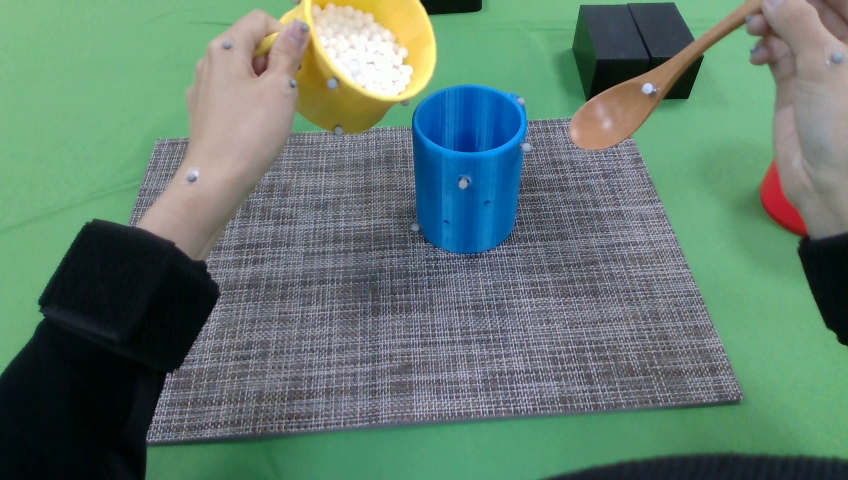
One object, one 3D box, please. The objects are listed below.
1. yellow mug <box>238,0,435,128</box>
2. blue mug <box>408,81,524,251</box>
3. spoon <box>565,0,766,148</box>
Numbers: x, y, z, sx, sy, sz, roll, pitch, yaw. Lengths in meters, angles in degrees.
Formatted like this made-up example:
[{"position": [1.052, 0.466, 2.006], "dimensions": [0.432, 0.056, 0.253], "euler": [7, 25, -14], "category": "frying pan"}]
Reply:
[{"position": [-0.063, -0.132, 0.415], "dimensions": [0.131, 0.064, 0.100], "euler": [-19, 91, -36], "category": "yellow mug"}, {"position": [0.042, -0.065, 0.476], "dimensions": [0.081, 0.107, 0.116], "euler": [33, 58, 25], "category": "blue mug"}, {"position": [0.158, -0.113, 0.339], "dimensions": [0.022, 0.194, 0.041], "euler": [13, 53, -36], "category": "spoon"}]
